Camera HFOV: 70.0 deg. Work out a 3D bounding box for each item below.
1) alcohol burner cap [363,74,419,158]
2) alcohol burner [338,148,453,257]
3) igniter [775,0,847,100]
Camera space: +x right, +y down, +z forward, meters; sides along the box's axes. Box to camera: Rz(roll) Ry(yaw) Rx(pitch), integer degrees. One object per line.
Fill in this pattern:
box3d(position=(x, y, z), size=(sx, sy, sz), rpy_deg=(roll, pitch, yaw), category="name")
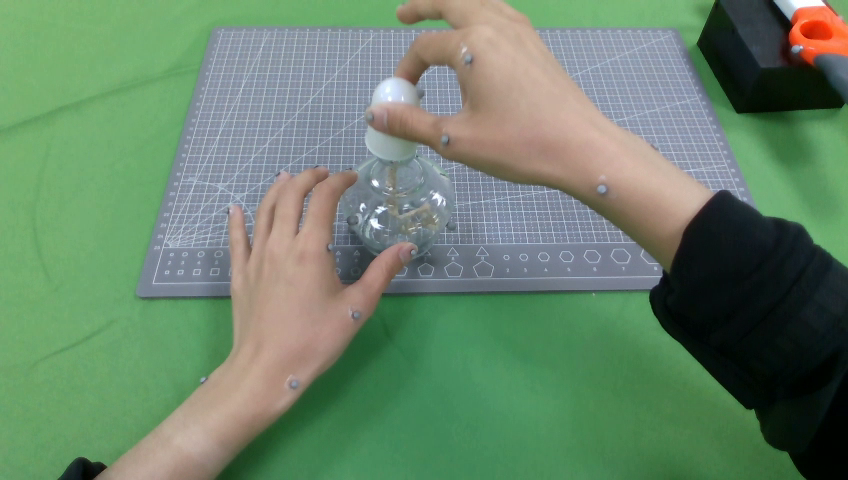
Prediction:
box3d(position=(-0.018, -0.075, 0.352), size=(0.034, 0.048, 0.033), rpy_deg=(4, 55, -6), category="alcohol burner cap")
box3d(position=(-0.019, -0.042, 0.397), size=(0.078, 0.120, 0.077), rpy_deg=(0, 56, 0), category="alcohol burner")
box3d(position=(0.326, -0.187, 0.509), size=(0.057, 0.025, 0.273), rpy_deg=(-5, 53, -2), category="igniter")
